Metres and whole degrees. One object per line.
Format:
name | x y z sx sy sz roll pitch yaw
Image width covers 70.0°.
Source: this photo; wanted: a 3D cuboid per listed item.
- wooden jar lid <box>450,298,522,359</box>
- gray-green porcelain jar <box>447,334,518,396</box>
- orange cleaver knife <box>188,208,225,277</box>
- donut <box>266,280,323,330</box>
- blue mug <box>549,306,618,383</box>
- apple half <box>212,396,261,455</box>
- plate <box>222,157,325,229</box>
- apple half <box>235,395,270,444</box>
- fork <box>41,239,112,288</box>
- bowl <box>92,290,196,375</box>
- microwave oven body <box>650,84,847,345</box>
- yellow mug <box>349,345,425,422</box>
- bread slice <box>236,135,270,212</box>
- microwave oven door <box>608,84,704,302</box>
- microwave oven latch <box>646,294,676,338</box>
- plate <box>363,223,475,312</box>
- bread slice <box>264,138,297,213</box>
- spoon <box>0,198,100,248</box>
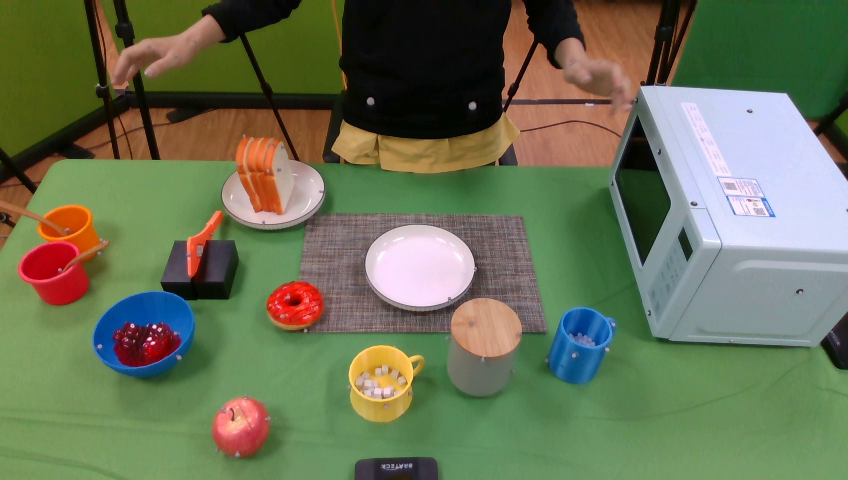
wooden jar lid | 0.093 0.135 0.914 0.108 0.021 0.107 2 48 -3
gray-green porcelain jar | 0.091 0.178 0.960 0.106 0.127 0.105 2 46 -2
orange cleaver knife | -0.402 0.000 1.123 0.012 0.077 0.210 2 22 -3
donut | -0.223 0.113 1.051 0.099 0.048 0.098 2 46 -1
blue mug | 0.269 0.167 0.997 0.116 0.106 0.082 -19 51 -20
apple half | -0.276 0.276 0.877 0.053 0.075 0.080 -29 58 -21
plate | -0.307 -0.094 1.251 0.209 0.038 0.208 2 46 -2
apple half | -0.245 0.260 0.893 0.033 0.082 0.081 -29 55 -22
fork | -0.591 0.040 1.028 0.207 0.019 0.028 -27 37 29
bowl | -0.436 0.161 0.971 0.151 0.077 0.150 2 46 -2
microwave oven body | 0.568 -0.054 1.116 0.326 0.261 0.439 2 46 -1
yellow mug | -0.054 0.217 0.954 0.131 0.064 0.099 -24 52 -25
bread slice | -0.340 -0.142 1.218 0.018 0.135 0.106 -3 45 7
microwave oven door | 0.424 -0.096 1.138 0.039 0.245 0.353 2 46 -1
microwave oven latch | 0.412 0.133 1.060 0.030 0.029 0.078 3 46 0
plate | -0.009 0.054 1.126 0.208 0.039 0.206 2 46 -2
bread slice | -0.287 -0.134 1.214 0.019 0.132 0.104 1 45 8
spoon | -0.684 -0.035 1.092 0.021 0.195 0.041 -32 42 27
